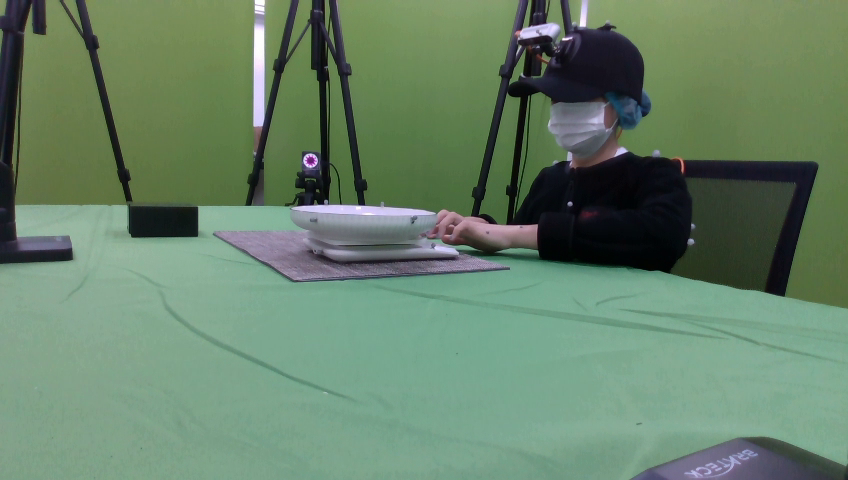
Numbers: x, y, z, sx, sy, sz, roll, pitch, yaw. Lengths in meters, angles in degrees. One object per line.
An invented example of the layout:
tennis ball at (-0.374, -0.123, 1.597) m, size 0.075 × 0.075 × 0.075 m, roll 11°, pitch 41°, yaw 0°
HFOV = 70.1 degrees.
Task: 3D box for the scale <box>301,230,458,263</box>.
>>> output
scale at (-0.065, 0.007, 0.878) m, size 0.202 × 0.031 × 0.148 m, roll 0°, pitch 8°, yaw -29°

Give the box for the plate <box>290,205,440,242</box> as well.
plate at (-0.082, -0.024, 0.852) m, size 0.208 × 0.039 × 0.207 m, roll 3°, pitch 6°, yaw 0°
